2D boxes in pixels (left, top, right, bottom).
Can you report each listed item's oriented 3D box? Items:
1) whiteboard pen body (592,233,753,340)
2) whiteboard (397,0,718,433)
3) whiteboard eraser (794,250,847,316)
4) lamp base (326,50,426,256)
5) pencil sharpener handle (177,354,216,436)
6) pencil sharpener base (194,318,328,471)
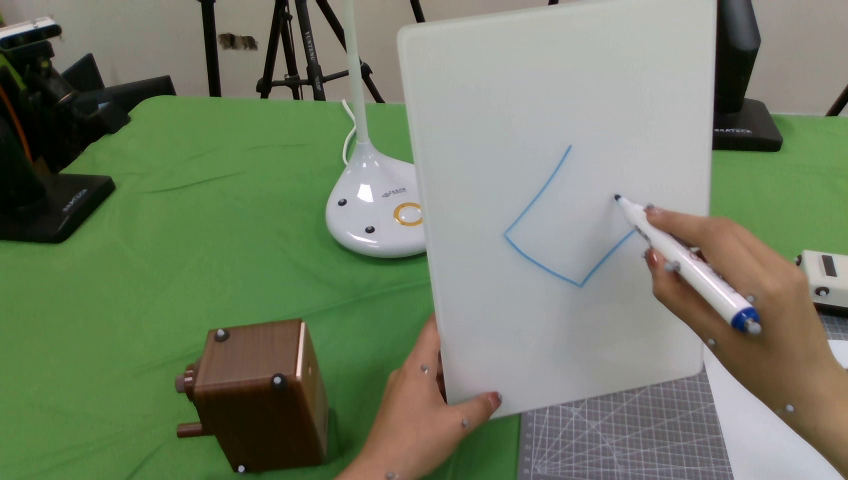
[{"bbox_3d":[0.149,0.022,0.387,0.017,0.017,0.139,-17,28,-15],"label":"whiteboard pen body"},{"bbox_3d":[0.098,-0.030,0.501,0.217,0.307,0.142,-10,21,-6],"label":"whiteboard"},{"bbox_3d":[0.398,0.044,0.543,0.112,0.042,0.055,10,42,16],"label":"whiteboard eraser"},{"bbox_3d":[-0.045,-0.101,0.650,0.161,0.182,0.177,-29,43,-26],"label":"lamp base"},{"bbox_3d":[-0.169,0.115,0.439,0.030,0.068,0.035,-6,27,-2],"label":"pencil sharpener handle"},{"bbox_3d":[-0.118,0.117,0.452,0.077,0.108,0.060,-6,40,-2],"label":"pencil sharpener base"}]
